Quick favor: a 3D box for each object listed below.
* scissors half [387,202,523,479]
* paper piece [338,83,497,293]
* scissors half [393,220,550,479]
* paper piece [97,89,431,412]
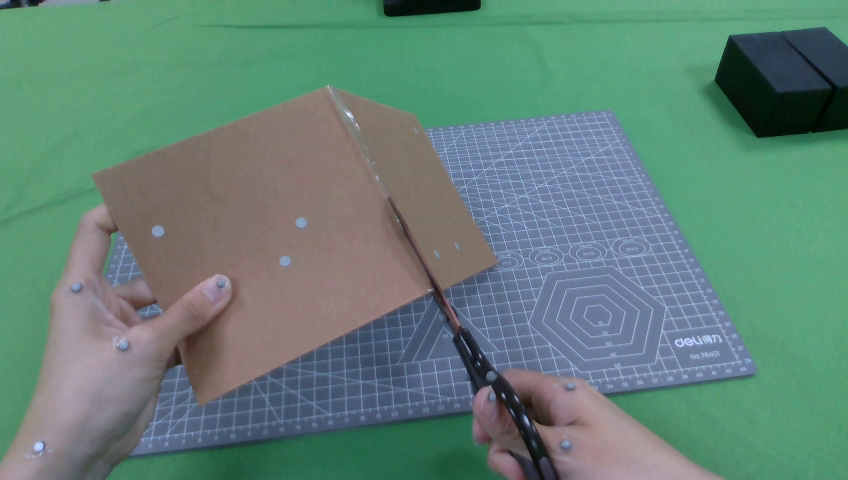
[{"bbox_3d":[0.018,0.057,0.341,0.013,0.040,0.175,-27,90,-10],"label":"scissors half"},{"bbox_3d":[0.002,-0.034,0.408,0.008,0.138,0.135,-26,85,20],"label":"paper piece"},{"bbox_3d":[0.018,0.050,0.319,0.013,0.040,0.173,-28,63,-5],"label":"scissors half"},{"bbox_3d":[-0.082,0.001,0.331,0.136,0.004,0.135,-25,92,-17],"label":"paper piece"}]
